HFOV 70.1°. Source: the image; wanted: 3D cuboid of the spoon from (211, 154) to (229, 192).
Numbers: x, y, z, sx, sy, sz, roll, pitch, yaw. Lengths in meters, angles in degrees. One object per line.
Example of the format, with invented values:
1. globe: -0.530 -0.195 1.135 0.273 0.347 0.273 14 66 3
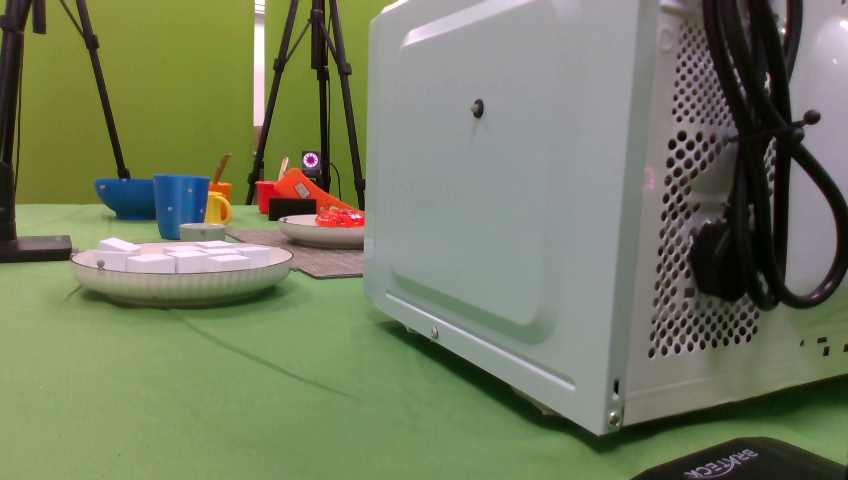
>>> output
1. spoon: -0.431 -0.115 1.253 0.042 0.193 0.021 -3 54 -33

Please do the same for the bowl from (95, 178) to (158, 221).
1. bowl: -0.576 -0.081 1.217 0.151 0.077 0.151 3 8 0

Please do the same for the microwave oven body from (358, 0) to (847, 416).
1. microwave oven body: 0.211 -0.047 0.474 0.444 0.260 0.324 -1 7 -28

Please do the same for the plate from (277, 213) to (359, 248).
1. plate: -0.135 -0.017 0.992 0.209 0.038 0.209 2 8 0

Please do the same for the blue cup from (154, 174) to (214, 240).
1. blue cup: -0.391 -0.053 0.978 0.093 0.100 0.092 3 6 0

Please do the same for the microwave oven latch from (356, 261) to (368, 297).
1. microwave oven latch: -0.020 0.033 0.531 0.079 0.029 0.030 -1 7 -27

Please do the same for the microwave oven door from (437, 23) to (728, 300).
1. microwave oven door: 0.181 -0.072 0.621 0.358 0.243 0.039 -2 8 -29

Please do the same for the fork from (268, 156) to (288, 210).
1. fork: -0.360 -0.144 1.508 0.028 0.018 0.207 1 49 0

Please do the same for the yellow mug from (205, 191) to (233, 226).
1. yellow mug: -0.415 -0.057 1.131 0.130 0.064 0.100 6 8 16

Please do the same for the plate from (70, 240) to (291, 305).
1. plate: -0.242 0.031 0.618 0.208 0.039 0.207 2 8 0

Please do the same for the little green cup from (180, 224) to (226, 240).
1. little green cup: -0.309 -0.001 0.846 0.061 0.038 0.061 2 8 0

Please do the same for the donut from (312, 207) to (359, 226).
1. donut: -0.134 -0.029 0.996 0.099 0.048 0.099 3 10 0

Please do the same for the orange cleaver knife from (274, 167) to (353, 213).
1. orange cleaver knife: -0.238 -0.090 1.381 0.212 0.077 0.012 31 0 -19
